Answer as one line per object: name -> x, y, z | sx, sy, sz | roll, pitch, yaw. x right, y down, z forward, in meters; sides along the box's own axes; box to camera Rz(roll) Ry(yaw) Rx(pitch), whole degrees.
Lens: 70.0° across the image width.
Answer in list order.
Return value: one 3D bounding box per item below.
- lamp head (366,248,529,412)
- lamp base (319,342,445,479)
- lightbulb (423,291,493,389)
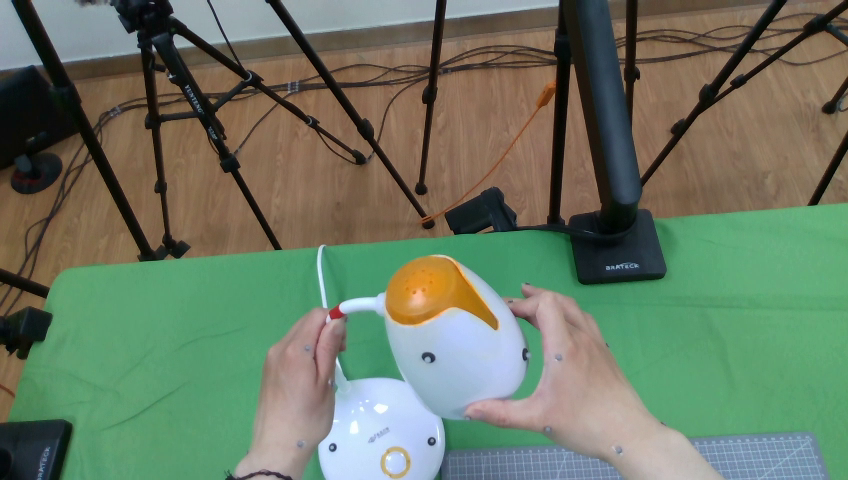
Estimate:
lamp head -> 0.014, 0.064, 0.494 | 0.112, 0.124, 0.111 | -19, 43, 19
lamp base -> -0.071, 0.197, 0.706 | 0.160, 0.182, 0.177 | -40, 60, -16
lightbulb -> 0.023, 0.081, 0.505 | 0.059, 0.109, 0.059 | -11, 43, 11
